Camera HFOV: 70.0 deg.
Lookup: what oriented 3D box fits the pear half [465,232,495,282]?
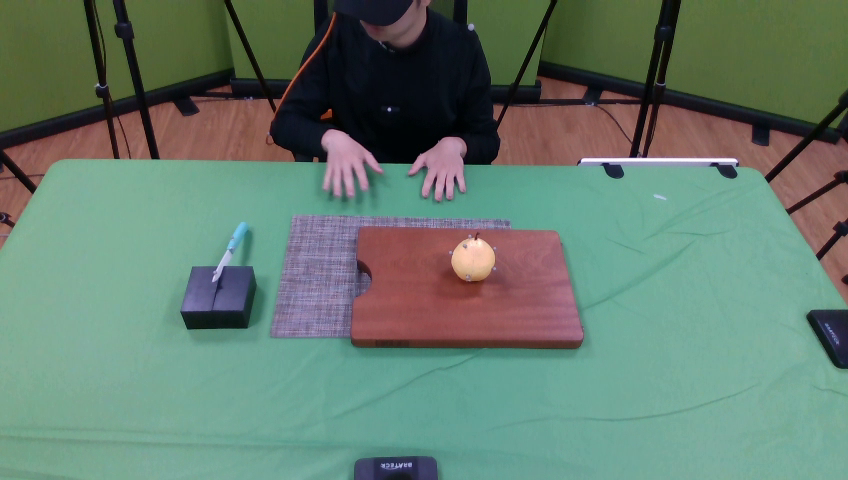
[{"bbox_3d":[0.100,0.024,1.085,0.056,0.110,0.076,-11,51,-15],"label":"pear half"}]

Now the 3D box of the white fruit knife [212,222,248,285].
[{"bbox_3d":[-0.355,0.020,1.111,0.016,0.027,0.206,-1,31,0],"label":"white fruit knife"}]

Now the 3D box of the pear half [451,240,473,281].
[{"bbox_3d":[0.065,0.036,1.085,0.031,0.088,0.070,-11,50,-14],"label":"pear half"}]
